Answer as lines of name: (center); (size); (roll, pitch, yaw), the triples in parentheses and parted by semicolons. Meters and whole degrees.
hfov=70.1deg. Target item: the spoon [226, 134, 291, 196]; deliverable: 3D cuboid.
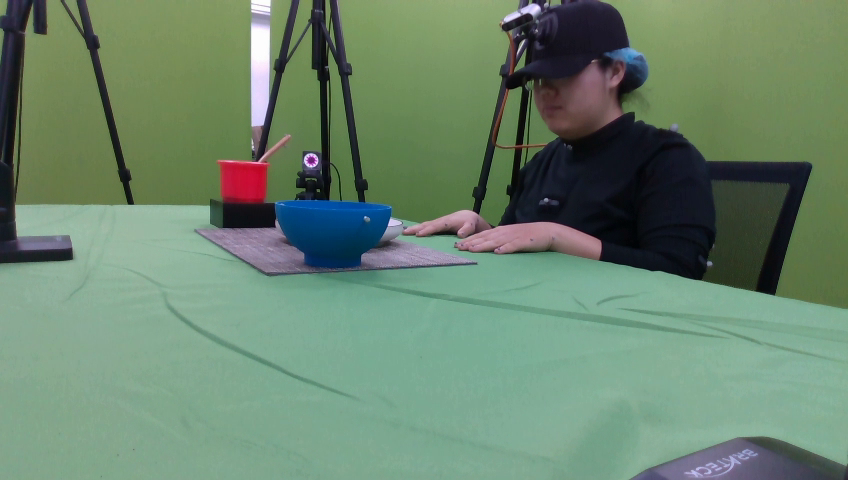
spoon: (-0.320, -0.149, 1.187); (0.041, 0.022, 0.194); (8, 53, 36)

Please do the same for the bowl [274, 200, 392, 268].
bowl: (-0.117, -0.008, 0.781); (0.151, 0.077, 0.151); (3, 7, 0)

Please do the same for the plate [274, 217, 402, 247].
plate: (-0.140, -0.015, 0.993); (0.208, 0.039, 0.207); (3, 7, 0)
